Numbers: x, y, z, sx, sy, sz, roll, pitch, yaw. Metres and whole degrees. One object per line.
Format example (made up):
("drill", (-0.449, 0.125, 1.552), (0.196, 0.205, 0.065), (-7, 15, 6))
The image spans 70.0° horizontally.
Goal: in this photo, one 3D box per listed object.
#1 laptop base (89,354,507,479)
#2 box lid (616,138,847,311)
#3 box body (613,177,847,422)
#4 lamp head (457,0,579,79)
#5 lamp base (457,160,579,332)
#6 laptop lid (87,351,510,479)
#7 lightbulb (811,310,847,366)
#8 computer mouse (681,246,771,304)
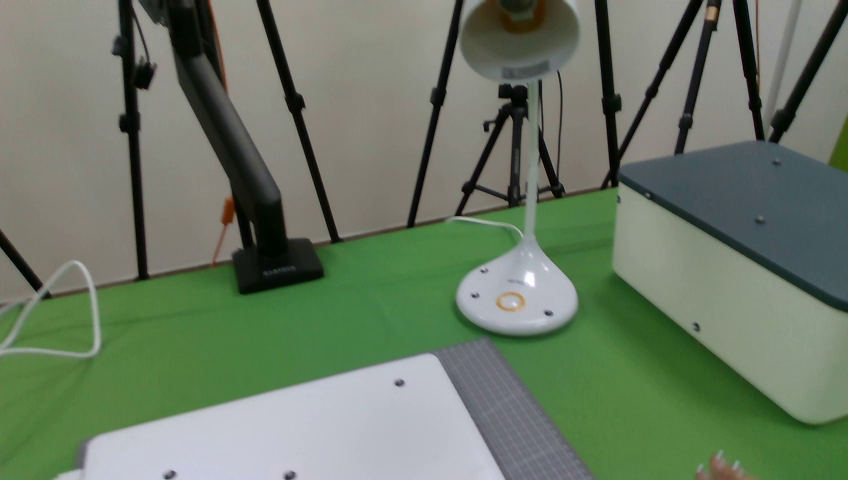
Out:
("laptop base", (-0.114, 0.220, 0.548), (0.355, 0.023, 0.233), (-11, 33, -17))
("box lid", (0.426, -0.041, 0.694), (0.264, 0.015, 0.367), (-11, 31, -17))
("box body", (0.428, 0.025, 0.729), (0.255, 0.161, 0.360), (-11, 30, -17))
("lamp head", (0.090, -0.233, 0.583), (0.112, 0.113, 0.122), (2, 54, 6))
("lamp base", (0.124, -0.002, 0.776), (0.160, 0.181, 0.178), (5, 27, 13))
("laptop lid", (-0.113, 0.210, 0.540), (0.358, 0.013, 0.239), (-10, 32, -15))
("lightbulb", (0.478, 0.122, 0.659), (0.059, 0.060, 0.106), (-23, 55, -33))
("computer mouse", (0.406, 0.043, 0.816), (0.063, 0.041, 0.116), (-9, 33, -18))
